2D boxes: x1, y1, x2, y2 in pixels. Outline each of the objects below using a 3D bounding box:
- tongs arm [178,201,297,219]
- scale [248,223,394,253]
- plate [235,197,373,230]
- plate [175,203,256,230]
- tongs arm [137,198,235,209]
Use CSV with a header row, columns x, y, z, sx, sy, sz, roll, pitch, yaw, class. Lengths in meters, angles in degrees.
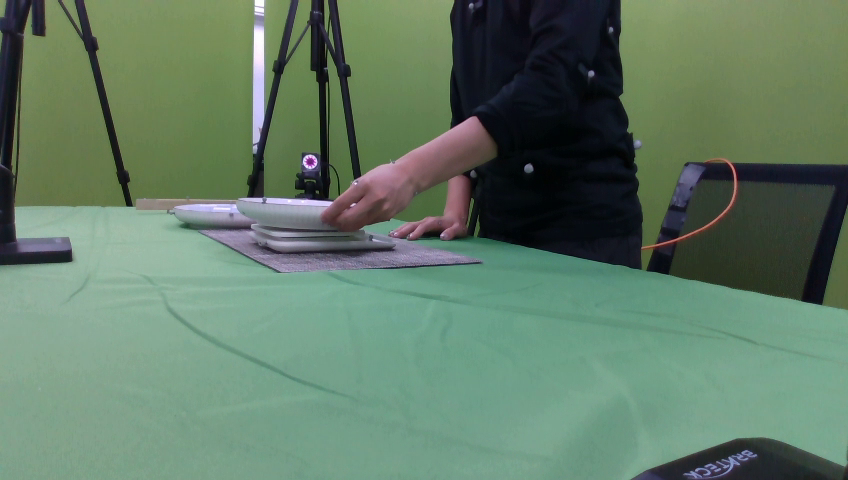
x,y,z,sx,sy,sz,roll,pitch,yaw,class
-0.418,-0.072,1.420,0.028,0.028,0.389,4,7,27,tongs arm
-0.162,-0.006,0.954,0.202,0.031,0.148,-2,8,-32,scale
-0.183,-0.042,0.933,0.209,0.038,0.209,4,6,0,plate
-0.381,-0.047,1.199,0.208,0.039,0.207,3,7,0,plate
-0.489,-0.086,1.472,0.050,0.026,0.387,11,9,42,tongs arm
